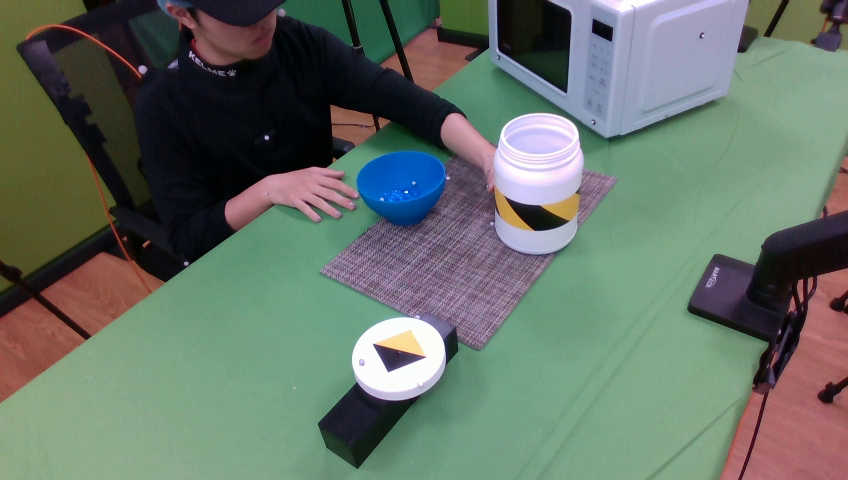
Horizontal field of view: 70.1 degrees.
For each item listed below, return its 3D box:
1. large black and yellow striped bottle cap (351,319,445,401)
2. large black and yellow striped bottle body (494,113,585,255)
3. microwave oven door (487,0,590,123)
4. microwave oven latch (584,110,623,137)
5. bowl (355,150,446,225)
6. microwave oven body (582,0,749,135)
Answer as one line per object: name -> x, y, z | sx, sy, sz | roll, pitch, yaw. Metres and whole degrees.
large black and yellow striped bottle cap -> -0.031, 0.143, 0.734 | 0.115, 0.019, 0.114 | -3, 40, 3
large black and yellow striped bottle body -> 0.171, -0.083, 0.908 | 0.131, 0.185, 0.130 | -4, 43, 4
microwave oven door -> 0.232, -0.420, 1.230 | 0.039, 0.245, 0.352 | -22, 43, -16
microwave oven latch -> 0.337, -0.222, 1.142 | 0.030, 0.029, 0.078 | -21, 42, -14
bowl -> -0.035, -0.078, 1.017 | 0.151, 0.077, 0.150 | -4, 40, 4
microwave oven body -> 0.382, -0.444, 1.246 | 0.327, 0.261, 0.437 | -22, 42, -16
